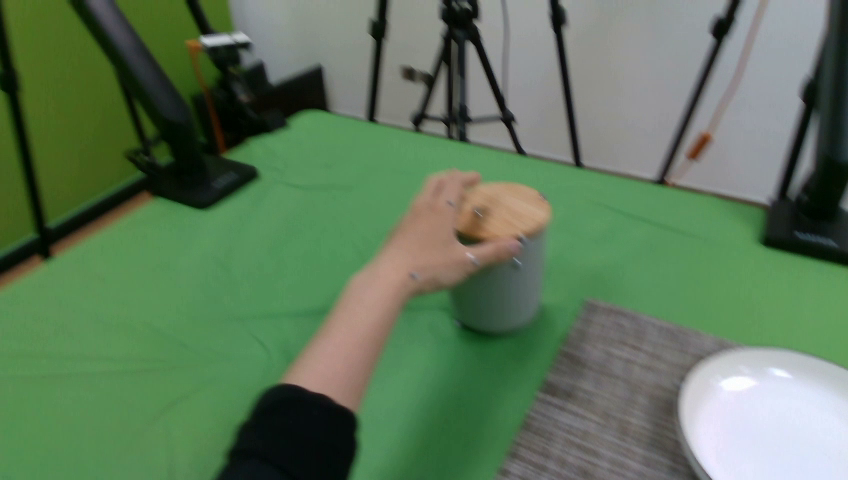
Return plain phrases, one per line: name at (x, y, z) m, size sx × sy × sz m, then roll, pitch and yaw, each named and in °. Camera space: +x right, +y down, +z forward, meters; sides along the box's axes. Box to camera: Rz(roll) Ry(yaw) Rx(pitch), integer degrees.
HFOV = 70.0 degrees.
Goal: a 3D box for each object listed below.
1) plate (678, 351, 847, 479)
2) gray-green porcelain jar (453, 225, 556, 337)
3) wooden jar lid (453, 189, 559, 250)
plate at (0.320, 0.179, 0.506) m, size 0.208 × 0.039 × 0.205 m, roll -1°, pitch 34°, yaw 1°
gray-green porcelain jar at (0.084, 0.033, 0.658) m, size 0.106 × 0.127 × 0.105 m, roll -1°, pitch 35°, yaw 1°
wooden jar lid at (0.083, -0.019, 0.621) m, size 0.108 × 0.021 × 0.107 m, roll -4°, pitch 34°, yaw 3°
